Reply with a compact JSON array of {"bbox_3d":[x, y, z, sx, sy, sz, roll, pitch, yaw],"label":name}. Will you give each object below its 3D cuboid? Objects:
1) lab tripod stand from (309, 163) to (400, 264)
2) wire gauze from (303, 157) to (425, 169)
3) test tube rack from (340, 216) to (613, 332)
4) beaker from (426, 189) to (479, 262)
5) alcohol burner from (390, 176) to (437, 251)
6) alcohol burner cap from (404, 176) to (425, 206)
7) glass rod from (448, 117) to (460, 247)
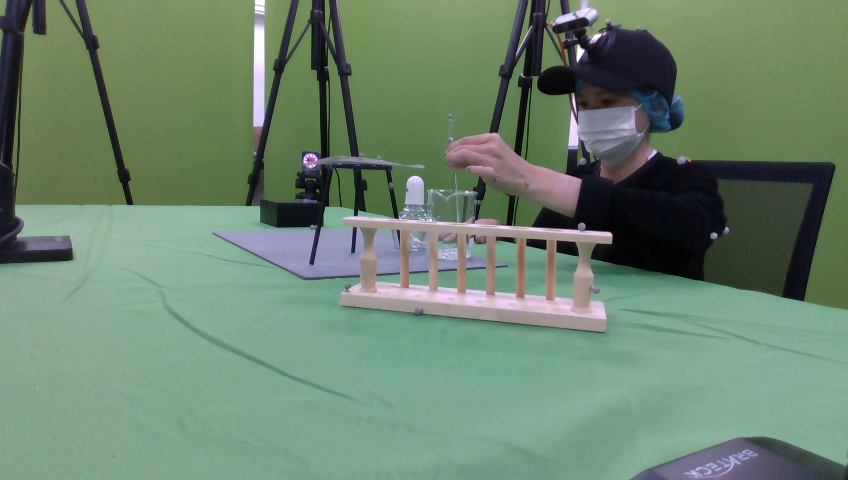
[{"bbox_3d":[-0.091,-0.037,0.813,0.148,0.131,0.148,1,6,0],"label":"lab tripod stand"},{"bbox_3d":[-0.082,-0.102,0.799,0.126,0.011,0.121,-1,7,-30],"label":"wire gauze"},{"bbox_3d":[0.048,0.026,0.568,0.242,0.085,0.067,4,8,13],"label":"test tube rack"},{"bbox_3d":[0.039,-0.022,0.871,0.074,0.100,0.084,4,8,12],"label":"beaker"},{"bbox_3d":[-0.016,-0.042,0.955,0.078,0.119,0.078,4,6,0],"label":"alcohol burner"},{"bbox_3d":[-0.015,-0.077,0.951,0.034,0.048,0.034,2,4,0],"label":"alcohol burner cap"},{"bbox_3d":[0.044,-0.072,0.853,0.008,0.199,0.008,-4,5,1],"label":"glass rod"}]
